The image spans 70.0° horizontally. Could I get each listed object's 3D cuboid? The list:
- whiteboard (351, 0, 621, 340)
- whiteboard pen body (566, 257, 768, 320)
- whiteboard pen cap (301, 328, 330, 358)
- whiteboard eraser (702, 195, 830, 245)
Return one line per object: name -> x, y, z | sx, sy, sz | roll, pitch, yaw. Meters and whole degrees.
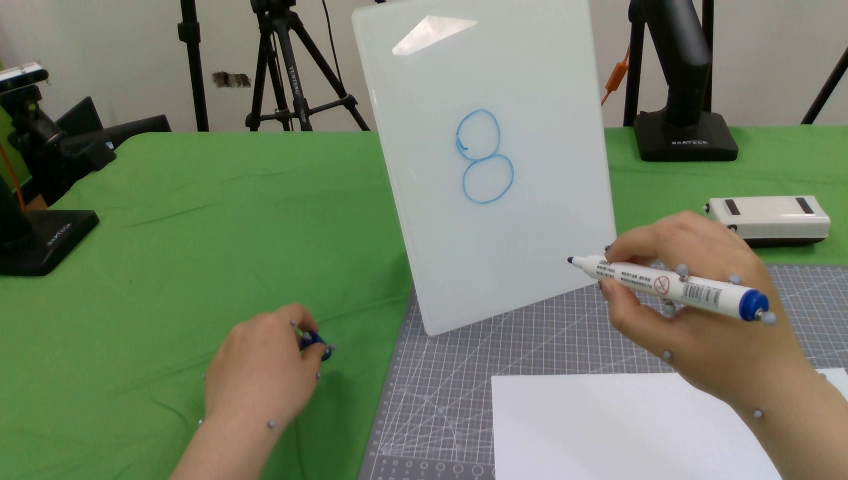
whiteboard -> 0.055, -0.091, 0.622 | 0.217, 0.307, 0.143 | -16, 18, -11
whiteboard pen body -> 0.124, 0.022, 0.339 | 0.017, 0.017, 0.140 | -23, 16, -21
whiteboard pen cap -> -0.097, 0.093, 0.546 | 0.018, 0.033, 0.018 | -8, 54, 12
whiteboard eraser -> 0.365, -0.021, 0.652 | 0.112, 0.042, 0.055 | 0, 40, 7
